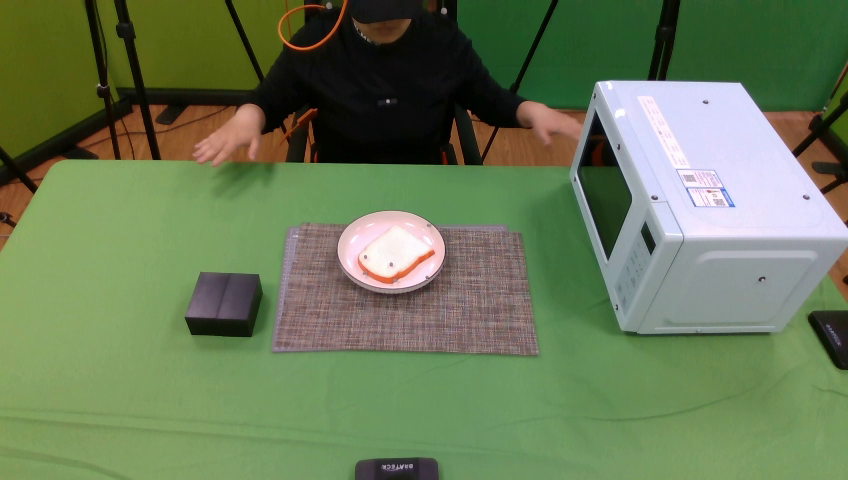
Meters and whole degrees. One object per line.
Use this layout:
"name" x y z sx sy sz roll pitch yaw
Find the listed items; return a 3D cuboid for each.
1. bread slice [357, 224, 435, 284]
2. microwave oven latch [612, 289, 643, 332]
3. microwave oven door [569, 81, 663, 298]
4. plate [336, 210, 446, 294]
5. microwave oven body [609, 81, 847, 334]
"bread slice" -0.059 0.028 1.153 0.104 0.019 0.131 34 53 26
"microwave oven latch" 0.357 0.124 1.068 0.030 0.029 0.078 0 45 -3
"microwave oven door" 0.353 -0.104 1.147 0.039 0.245 0.353 0 46 -4
"plate" -0.062 0.026 1.153 0.209 0.038 0.208 3 46 -2
"microwave oven body" 0.501 -0.070 1.132 0.326 0.261 0.438 0 45 -3
